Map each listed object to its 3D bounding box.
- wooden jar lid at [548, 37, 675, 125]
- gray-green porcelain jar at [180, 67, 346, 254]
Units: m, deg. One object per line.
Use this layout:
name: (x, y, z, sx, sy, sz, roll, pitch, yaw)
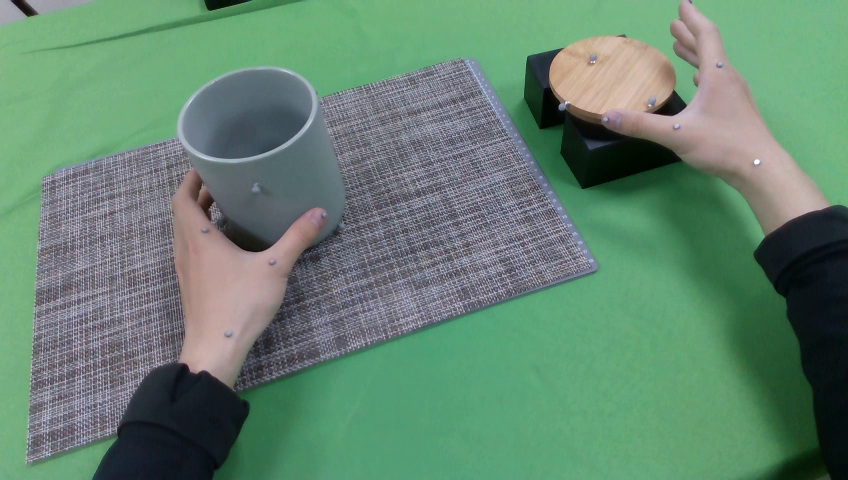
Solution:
wooden jar lid: (0.165, -0.141, 0.540, 0.108, 0.021, 0.107, -2, 55, 4)
gray-green porcelain jar: (-0.124, -0.058, 0.500, 0.106, 0.128, 0.105, -3, 54, 4)
